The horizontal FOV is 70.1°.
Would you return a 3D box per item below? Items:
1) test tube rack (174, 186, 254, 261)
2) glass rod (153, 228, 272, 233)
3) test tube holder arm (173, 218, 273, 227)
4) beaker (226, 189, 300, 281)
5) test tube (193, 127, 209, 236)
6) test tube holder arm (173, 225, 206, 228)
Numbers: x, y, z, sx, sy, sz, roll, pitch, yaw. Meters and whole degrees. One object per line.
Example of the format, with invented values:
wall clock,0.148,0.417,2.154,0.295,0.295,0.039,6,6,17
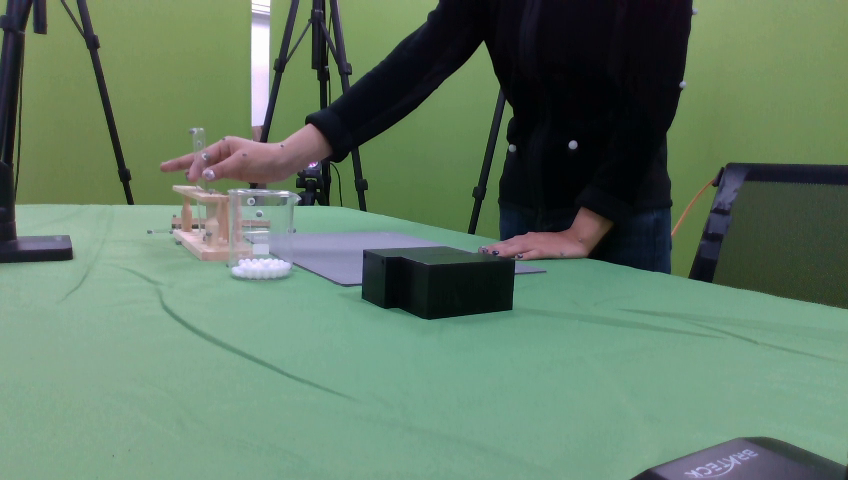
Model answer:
test tube rack,-0.314,-0.030,0.888,0.067,0.085,0.241,-2,9,-30
glass rod,-0.369,-0.017,1.065,0.201,0.008,0.008,-2,8,-27
test tube holder arm,-0.372,-0.032,1.128,0.179,0.015,0.013,0,-24,-26
beaker,-0.184,-0.007,0.694,0.084,0.100,0.073,-1,8,-29
test tube,-0.308,-0.081,0.840,0.017,0.150,0.017,-2,4,0
test tube holder arm,-0.415,-0.029,1.113,0.088,0.015,0.010,-1,-23,-25
